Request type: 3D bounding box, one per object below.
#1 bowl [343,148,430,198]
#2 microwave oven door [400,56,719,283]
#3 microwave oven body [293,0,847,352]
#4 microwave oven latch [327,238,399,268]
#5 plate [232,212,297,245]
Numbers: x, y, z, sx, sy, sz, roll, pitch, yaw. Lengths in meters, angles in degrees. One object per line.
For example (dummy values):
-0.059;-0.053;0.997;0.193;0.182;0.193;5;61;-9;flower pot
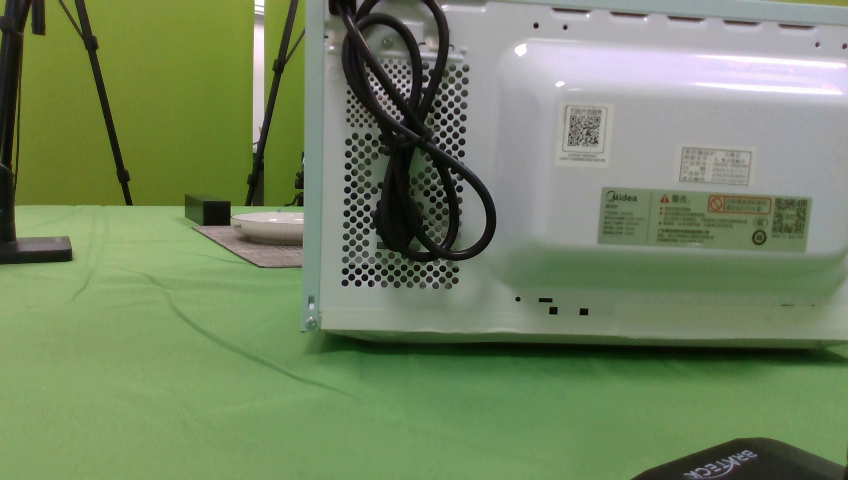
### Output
-0.063;-0.113;1.045;0.151;0.077;0.151;-1;3;0;bowl
0.155;-0.077;0.697;0.356;0.243;0.039;2;8;-5;microwave oven door
0.122;-0.055;0.550;0.442;0.260;0.325;3;7;-5;microwave oven body
-0.069;0.015;0.694;0.079;0.029;0.030;3;7;-3;microwave oven latch
-0.214;-0.019;1.018;0.208;0.039;0.207;3;7;0;plate
